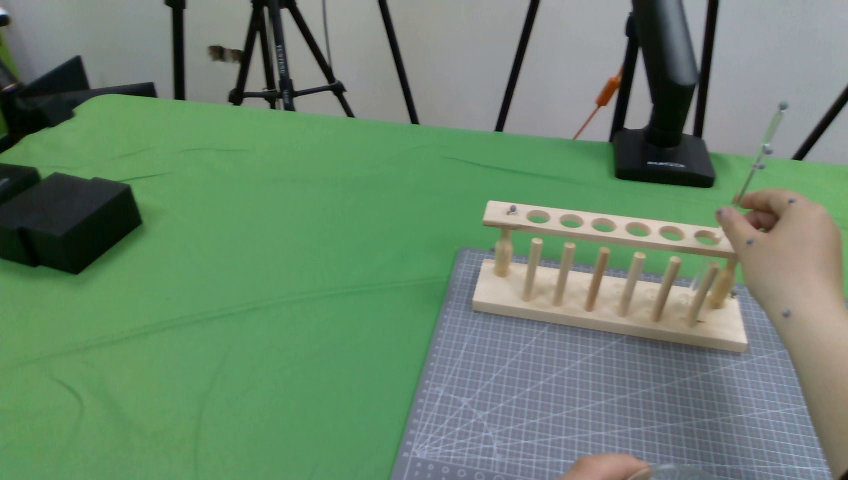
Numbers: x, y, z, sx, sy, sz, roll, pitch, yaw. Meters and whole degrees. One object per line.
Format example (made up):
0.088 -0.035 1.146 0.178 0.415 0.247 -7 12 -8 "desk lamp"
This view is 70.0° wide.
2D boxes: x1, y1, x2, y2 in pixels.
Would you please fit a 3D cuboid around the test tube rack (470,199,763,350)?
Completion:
0.168 0.029 0.555 0.242 0.086 0.066 8 38 10 "test tube rack"

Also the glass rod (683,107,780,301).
0.254 -0.020 0.510 0.008 0.201 0.008 3 39 -2 "glass rod"

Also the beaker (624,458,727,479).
0.124 0.178 0.321 0.084 0.101 0.073 -2 36 -5 "beaker"
